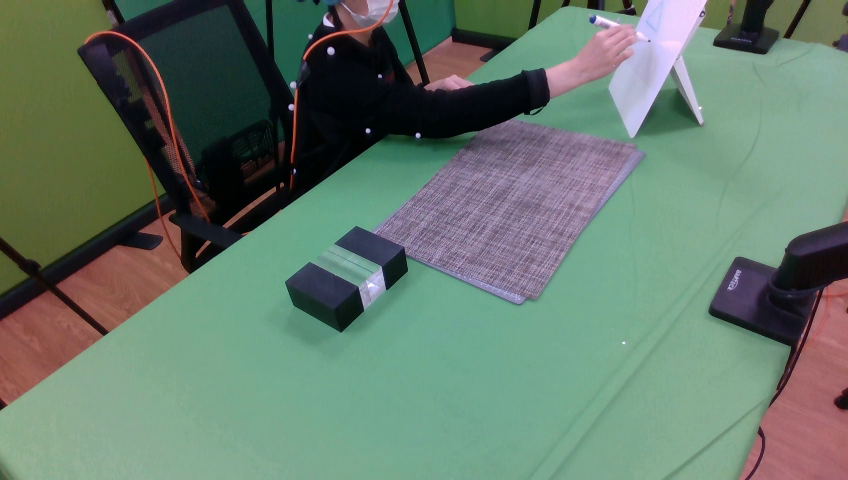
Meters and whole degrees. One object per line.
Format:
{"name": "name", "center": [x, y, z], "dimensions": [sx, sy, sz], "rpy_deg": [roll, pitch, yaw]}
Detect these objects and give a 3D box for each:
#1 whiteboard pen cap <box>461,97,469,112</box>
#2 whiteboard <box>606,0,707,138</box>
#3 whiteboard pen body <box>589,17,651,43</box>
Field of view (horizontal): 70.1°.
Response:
{"name": "whiteboard pen cap", "center": [0.086, -0.287, 1.285], "dimensions": [0.018, 0.018, 0.033], "rpy_deg": [-3, 47, 5]}
{"name": "whiteboard", "center": [0.496, -0.358, 1.147], "dimensions": [0.144, 0.305, 0.216], "rpy_deg": [11, 40, -7]}
{"name": "whiteboard pen body", "center": [0.365, -0.385, 1.117], "dimensions": [0.142, 0.017, 0.017], "rpy_deg": [10, 35, -23]}
